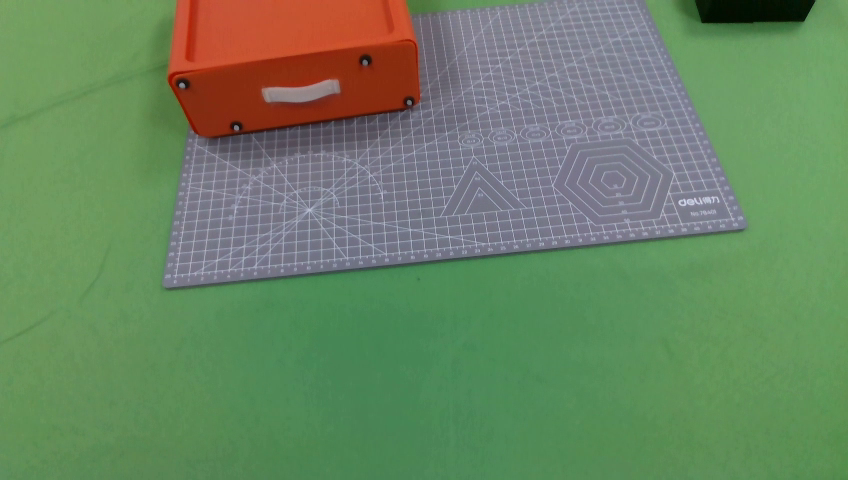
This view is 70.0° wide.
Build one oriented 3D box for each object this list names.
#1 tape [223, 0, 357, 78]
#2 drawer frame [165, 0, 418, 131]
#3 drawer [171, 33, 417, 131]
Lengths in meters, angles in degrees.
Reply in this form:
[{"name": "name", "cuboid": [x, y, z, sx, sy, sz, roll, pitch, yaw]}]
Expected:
[{"name": "tape", "cuboid": [-0.123, -0.210, 0.569, 0.117, 0.053, 0.116, -1, 58, 2]}, {"name": "drawer frame", "cuboid": [-0.121, -0.213, 0.561, 0.202, 0.083, 0.211, -10, 57, -4]}, {"name": "drawer", "cuboid": [-0.119, -0.210, 0.560, 0.194, 0.074, 0.209, -10, 57, -3]}]
